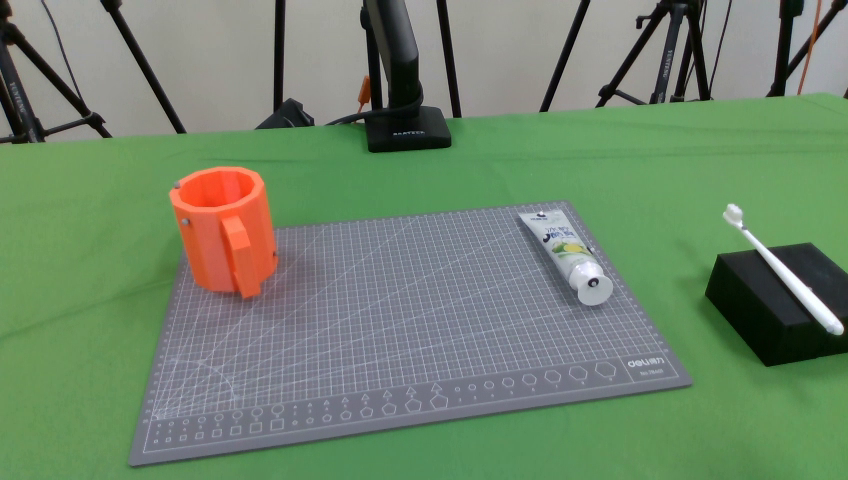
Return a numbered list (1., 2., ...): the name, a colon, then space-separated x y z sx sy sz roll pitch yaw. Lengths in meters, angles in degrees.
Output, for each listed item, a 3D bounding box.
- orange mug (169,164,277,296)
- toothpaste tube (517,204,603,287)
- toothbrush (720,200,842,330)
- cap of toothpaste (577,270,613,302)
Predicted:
1. orange mug: -0.190 -0.006 0.594 0.084 0.101 0.125 -18 36 -22
2. toothpaste tube: 0.150 0.002 0.642 0.055 0.035 0.163 -1 32 -12
3. toothbrush: 0.321 0.016 0.554 0.014 0.017 0.180 -1 36 -7
4. cap of toothpaste: 0.162 0.042 0.576 0.037 0.037 0.011 -7 33 -9
